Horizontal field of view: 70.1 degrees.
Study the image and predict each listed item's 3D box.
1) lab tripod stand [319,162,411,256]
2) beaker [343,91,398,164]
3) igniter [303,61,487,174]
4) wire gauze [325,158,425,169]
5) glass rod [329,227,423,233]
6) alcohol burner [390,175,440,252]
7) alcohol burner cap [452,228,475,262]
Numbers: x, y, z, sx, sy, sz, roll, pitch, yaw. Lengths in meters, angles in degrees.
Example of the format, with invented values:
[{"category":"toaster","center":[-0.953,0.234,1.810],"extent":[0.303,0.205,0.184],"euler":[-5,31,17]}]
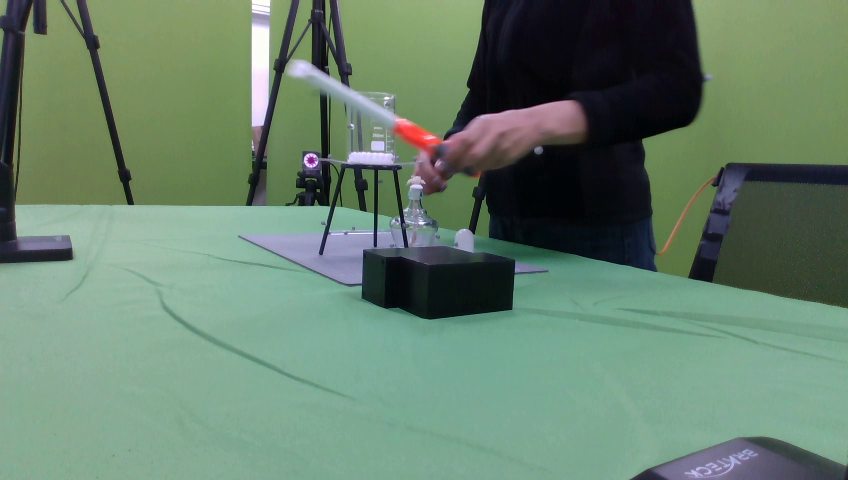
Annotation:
[{"category":"lab tripod stand","center":[-0.081,-0.047,0.879],"extent":[0.148,0.131,0.148],"euler":[2,9,0]},{"category":"beaker","center":[-0.079,-0.160,0.867],"extent":[0.084,0.100,0.073],"euler":[-5,10,-35]},{"category":"igniter","center":[-0.023,-0.142,0.741],"extent":[0.278,0.025,0.057],"euler":[23,14,-38]},{"category":"wire gauze","center":[-0.080,-0.112,0.869],"extent":[0.122,0.011,0.124],"euler":[-6,12,-35]},{"category":"glass rod","center":[-0.087,-0.019,1.148],"extent":[0.201,0.008,0.008],"euler":[-3,8,-32]},{"category":"alcohol burner","center":[-0.014,-0.041,0.932],"extent":[0.078,0.119,0.078],"euler":[1,9,0]},{"category":"alcohol burner cap","center":[0.058,0.006,0.872],"extent":[0.034,0.048,0.034],"euler":[3,7,0]}]
